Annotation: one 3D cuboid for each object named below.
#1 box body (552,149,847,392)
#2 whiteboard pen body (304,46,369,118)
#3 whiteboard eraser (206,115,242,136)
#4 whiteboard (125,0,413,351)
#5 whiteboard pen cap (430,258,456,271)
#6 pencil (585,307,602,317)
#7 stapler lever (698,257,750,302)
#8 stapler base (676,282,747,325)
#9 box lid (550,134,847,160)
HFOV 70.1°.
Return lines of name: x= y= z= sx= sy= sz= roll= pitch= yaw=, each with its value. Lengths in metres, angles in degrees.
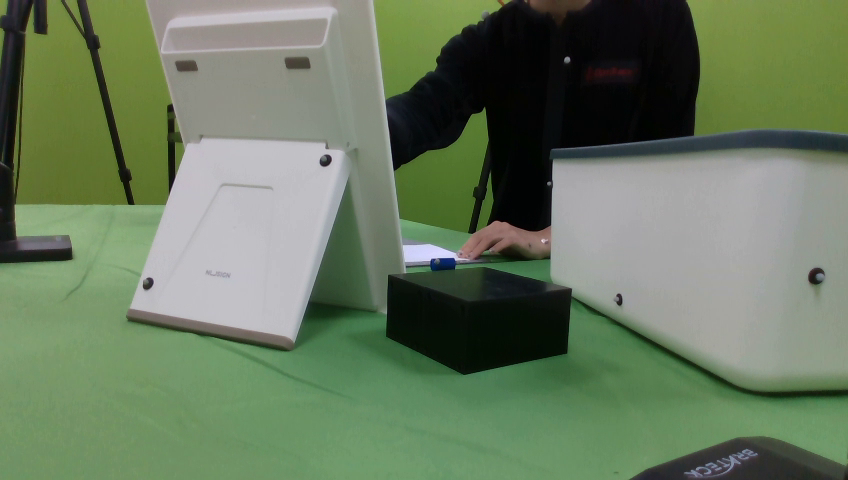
box body: x=0.290 y=0.002 z=0.549 sx=0.255 sy=0.160 sz=0.363 roll=2 pitch=7 yaw=-10
whiteboard pen body: x=-0.079 y=-0.145 z=0.553 sx=0.017 sy=0.017 sz=0.141 roll=5 pitch=39 yaw=16
whiteboard eraser: x=-0.438 y=-0.249 z=1.320 sx=0.056 sy=0.042 sz=0.112 roll=-3 pitch=9 yaw=-30
whiteboard: x=-0.151 y=-0.050 z=0.471 sx=0.216 sy=0.305 sz=0.144 roll=6 pitch=27 yaw=24
whiteboard pen cap: x=0.024 y=0.031 z=0.791 sx=0.033 sy=0.018 sz=0.018 roll=1 pitch=8 yaw=-13
pencil: x=0.250 y=0.055 z=0.656 sx=0.195 sy=0.012 sz=0.012 roll=-13 pitch=14 yaw=-26
stapler lever: x=0.291 y=0.035 z=0.580 sx=0.026 sy=0.040 sz=0.119 roll=31 pitch=20 yaw=34
stapler base: x=0.283 y=0.057 z=0.585 sx=0.041 sy=0.024 sz=0.131 roll=31 pitch=18 yaw=34
box lid: x=0.294 y=-0.071 z=0.538 sx=0.264 sy=0.015 sz=0.370 roll=2 pitch=6 yaw=-10
